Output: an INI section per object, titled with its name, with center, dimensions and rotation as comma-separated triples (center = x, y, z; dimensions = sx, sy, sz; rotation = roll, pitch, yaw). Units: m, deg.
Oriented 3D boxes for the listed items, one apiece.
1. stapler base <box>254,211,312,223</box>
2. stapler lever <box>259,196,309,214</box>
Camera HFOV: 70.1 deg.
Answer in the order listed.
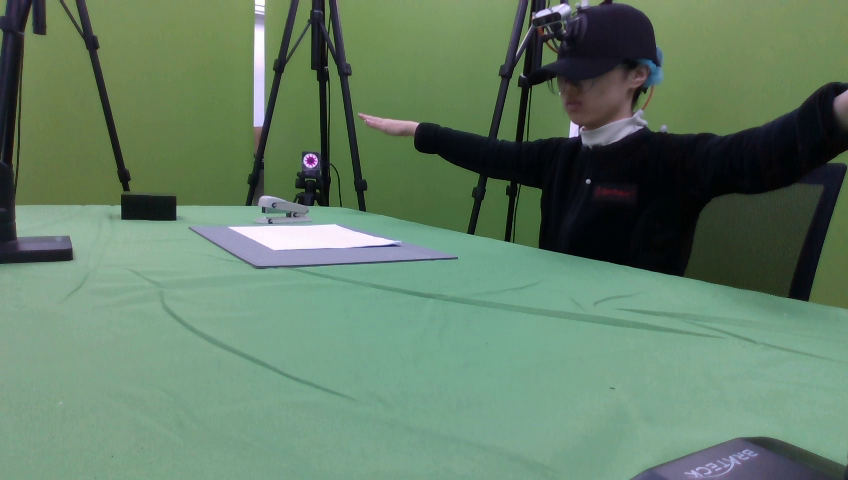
[stapler base]
center = -0.302, -0.052, 1.301
dimensions = 0.041, 0.024, 0.131
rotation = 11, 10, 38
[stapler lever]
center = -0.301, -0.076, 1.300
dimensions = 0.026, 0.040, 0.119
rotation = 11, 11, 38
